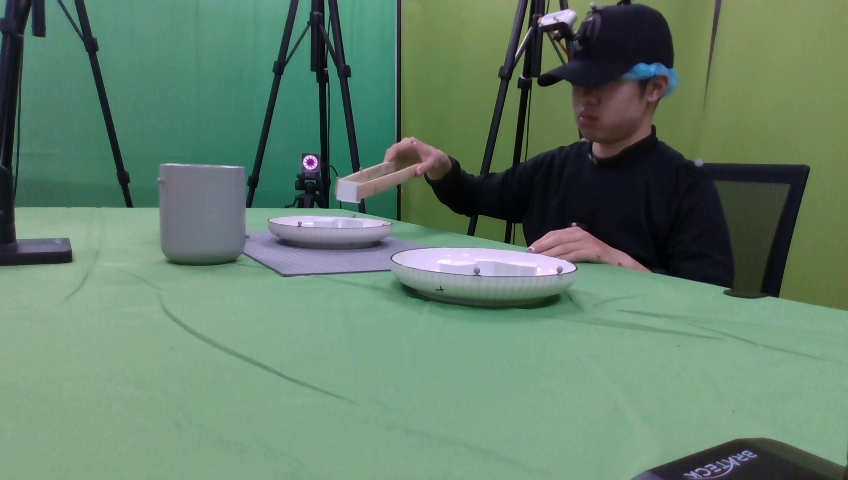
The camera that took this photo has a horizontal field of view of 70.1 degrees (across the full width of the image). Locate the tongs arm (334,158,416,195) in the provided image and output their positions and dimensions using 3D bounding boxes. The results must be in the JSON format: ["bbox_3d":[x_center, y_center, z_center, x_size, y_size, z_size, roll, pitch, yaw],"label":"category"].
[{"bbox_3d":[-0.080,-0.124,1.133,0.051,0.026,0.385,7,14,10],"label":"tongs arm"}]

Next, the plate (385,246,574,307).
[{"bbox_3d":[0.060,0.041,0.678,0.208,0.039,0.207,3,7,0],"label":"plate"}]

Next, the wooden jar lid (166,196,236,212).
[{"bbox_3d":[-0.369,-0.059,1.001,0.108,0.020,0.108,3,6,0],"label":"wooden jar lid"}]

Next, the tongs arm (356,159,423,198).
[{"bbox_3d":[-0.056,-0.120,1.128,0.028,0.028,0.388,4,14,15],"label":"tongs arm"}]

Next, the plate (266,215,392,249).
[{"bbox_3d":[-0.159,-0.015,1.019,0.209,0.038,0.209,3,7,0],"label":"plate"}]

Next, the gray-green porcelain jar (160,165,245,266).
[{"bbox_3d":[-0.291,-0.034,0.799,0.106,0.126,0.106,2,8,0],"label":"gray-green porcelain jar"}]
